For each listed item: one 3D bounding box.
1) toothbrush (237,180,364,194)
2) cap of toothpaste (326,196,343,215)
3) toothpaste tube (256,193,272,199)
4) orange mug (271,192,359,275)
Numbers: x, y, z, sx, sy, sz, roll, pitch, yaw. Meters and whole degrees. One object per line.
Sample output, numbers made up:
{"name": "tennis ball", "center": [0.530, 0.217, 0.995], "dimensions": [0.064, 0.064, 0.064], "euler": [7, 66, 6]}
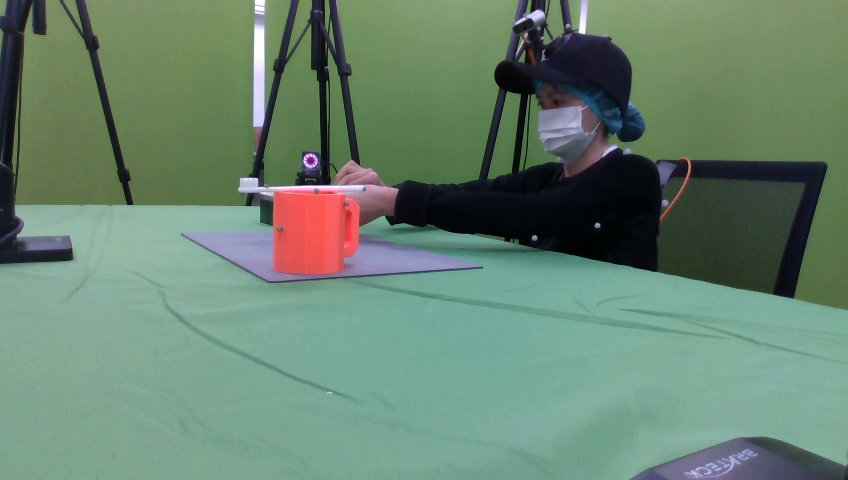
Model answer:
{"name": "toothbrush", "center": [-0.144, -0.064, 0.737], "dimensions": [0.014, 0.016, 0.183], "euler": [4, 6, 43]}
{"name": "cap of toothpaste", "center": [-0.165, -0.064, 1.113], "dimensions": [0.037, 0.037, 0.011], "euler": [7, -2, 27]}
{"name": "toothpaste tube", "center": [-0.211, -0.069, 1.046], "dimensions": [0.055, 0.034, 0.166], "euler": [6, 0, 33]}
{"name": "orange mug", "center": [-0.131, -0.013, 0.754], "dimensions": [0.083, 0.101, 0.127], "euler": [8, 13, 38]}
